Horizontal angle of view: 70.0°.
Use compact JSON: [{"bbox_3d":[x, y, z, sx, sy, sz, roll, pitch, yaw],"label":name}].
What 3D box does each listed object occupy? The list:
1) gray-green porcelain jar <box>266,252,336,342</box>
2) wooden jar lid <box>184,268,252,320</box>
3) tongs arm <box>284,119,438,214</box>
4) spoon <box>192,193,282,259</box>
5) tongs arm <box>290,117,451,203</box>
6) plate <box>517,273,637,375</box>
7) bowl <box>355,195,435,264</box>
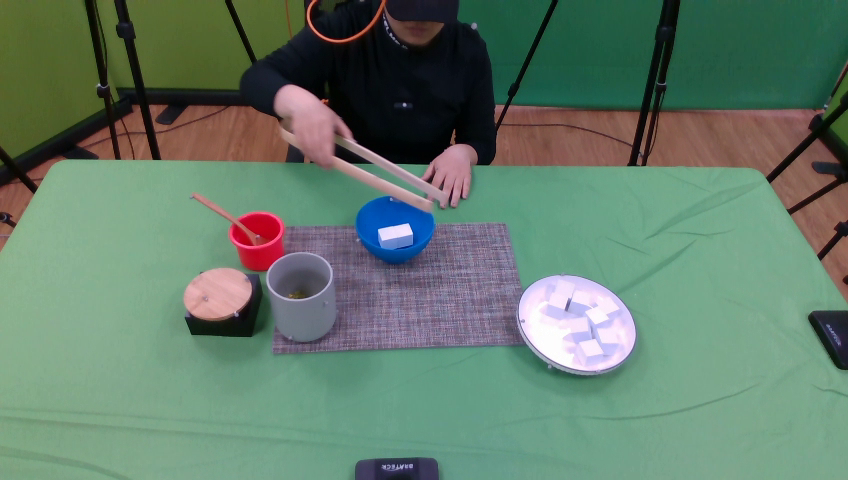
[{"bbox_3d":[-0.202,0.100,1.009,0.106,0.127,0.105,2,46,-2],"label":"gray-green porcelain jar"},{"bbox_3d":[-0.343,0.092,1.015,0.108,0.021,0.107,3,46,-3],"label":"wooden jar lid"},{"bbox_3d":[-0.123,-0.141,1.118,0.383,0.026,0.050,26,50,24],"label":"tongs arm"},{"bbox_3d":[-0.342,-0.027,1.115,0.194,0.021,0.041,43,40,-24],"label":"spoon"},{"bbox_3d":[-0.107,-0.155,1.132,0.386,0.028,0.028,29,55,26],"label":"tongs arm"},{"bbox_3d":[0.264,0.149,1.060,0.209,0.038,0.208,3,46,-3],"label":"plate"},{"bbox_3d":[-0.056,-0.008,1.158,0.151,0.077,0.150,2,46,-2],"label":"bowl"}]
